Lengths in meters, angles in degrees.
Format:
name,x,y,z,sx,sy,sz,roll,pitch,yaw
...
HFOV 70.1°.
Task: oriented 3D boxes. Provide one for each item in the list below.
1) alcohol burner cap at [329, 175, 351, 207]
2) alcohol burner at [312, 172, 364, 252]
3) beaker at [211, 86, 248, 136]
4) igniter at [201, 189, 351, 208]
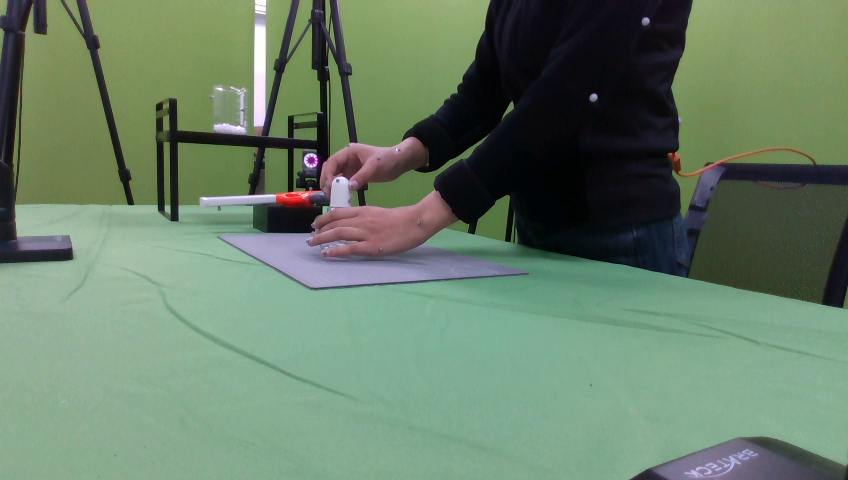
name,x,y,z,sx,sy,sz,roll,pitch,yaw
alcohol burner cap,-0.125,-0.072,0.901,0.034,0.048,0.034,1,7,0
alcohol burner,-0.128,-0.042,0.905,0.078,0.119,0.078,2,5,0
beaker,-0.414,-0.274,1.297,0.074,0.100,0.083,-5,11,-44
igniter,-0.272,-0.078,1.138,0.278,0.025,0.057,-5,11,-28
